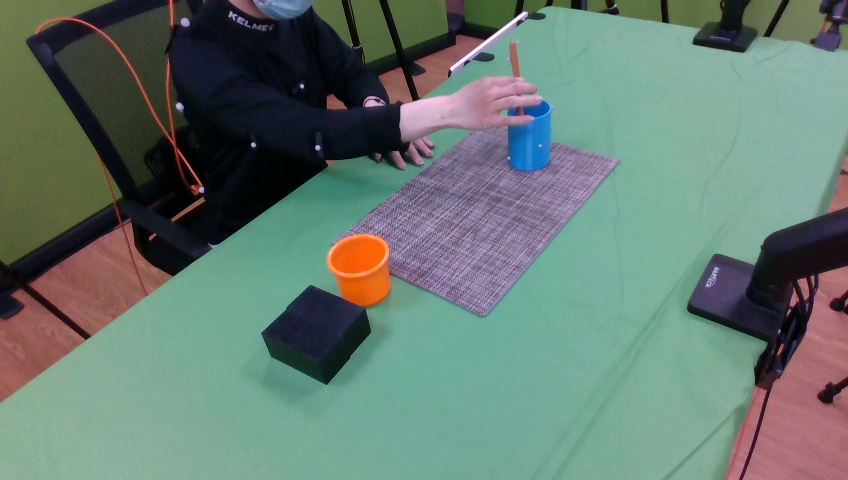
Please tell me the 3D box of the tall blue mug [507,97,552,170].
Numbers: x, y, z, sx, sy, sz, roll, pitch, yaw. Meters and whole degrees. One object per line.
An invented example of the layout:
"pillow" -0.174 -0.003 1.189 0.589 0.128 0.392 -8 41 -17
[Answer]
"tall blue mug" 0.179 -0.198 1.101 0.078 0.108 0.106 -36 49 -28

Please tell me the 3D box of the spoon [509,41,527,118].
"spoon" 0.165 -0.254 1.058 0.041 0.194 0.022 11 40 32
